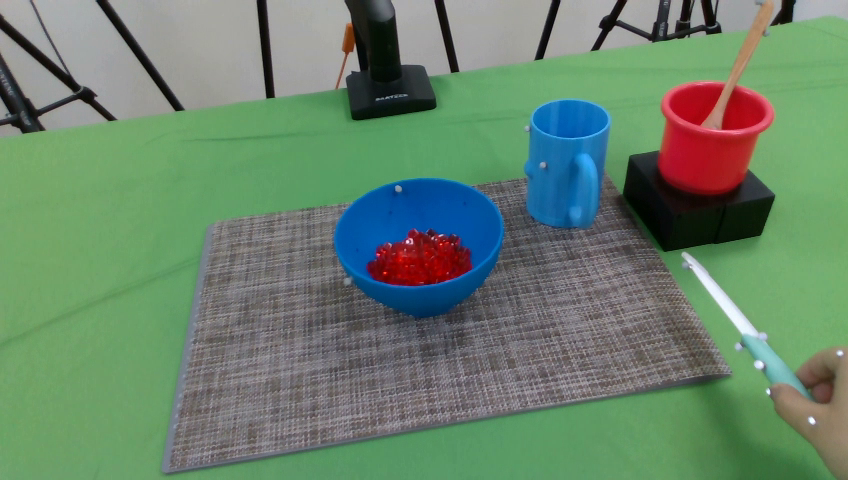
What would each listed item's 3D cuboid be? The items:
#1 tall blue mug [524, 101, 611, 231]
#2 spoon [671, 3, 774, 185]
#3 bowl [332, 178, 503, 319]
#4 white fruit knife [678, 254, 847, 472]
[{"bbox_3d":[0.154,-0.068,0.612,0.078,0.109,0.106,-28,46,-24],"label":"tall blue mug"},{"bbox_3d":[0.293,-0.140,0.583,0.041,0.022,0.194,27,95,33],"label":"spoon"},{"bbox_3d":[-0.003,0.019,0.555,0.151,0.077,0.150,-3,42,3],"label":"bowl"},{"bbox_3d":[0.245,0.079,0.448,0.027,0.016,0.205,10,36,-25],"label":"white fruit knife"}]
